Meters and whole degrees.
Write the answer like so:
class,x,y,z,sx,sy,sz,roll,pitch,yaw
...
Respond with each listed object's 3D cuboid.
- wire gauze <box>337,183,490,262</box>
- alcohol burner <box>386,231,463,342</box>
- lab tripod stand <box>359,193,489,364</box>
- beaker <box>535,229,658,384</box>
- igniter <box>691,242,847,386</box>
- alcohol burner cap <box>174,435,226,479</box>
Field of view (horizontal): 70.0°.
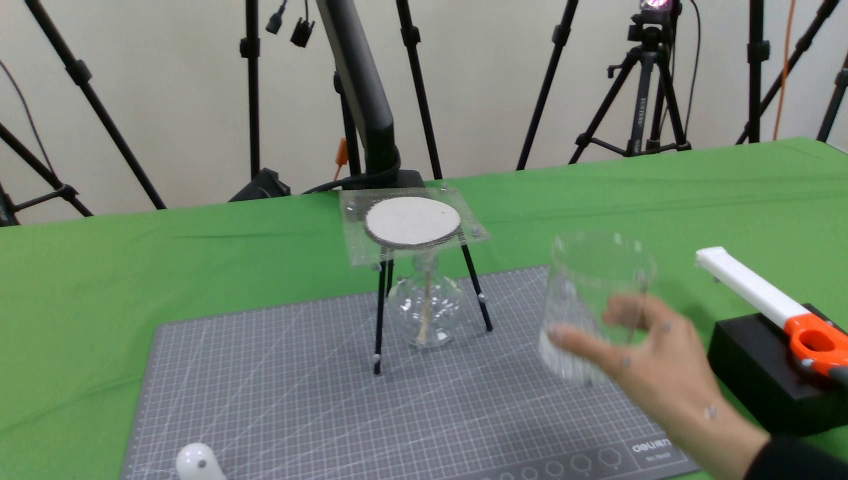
class,x,y,z,sx,sy,sz,roll,pitch,yaw
wire gauze,-0.014,-0.024,0.548,0.122,0.011,0.123,-7,33,-10
alcohol burner,0.000,0.041,0.591,0.078,0.120,0.077,0,34,0
lab tripod stand,-0.008,0.031,0.588,0.148,0.132,0.147,0,31,0
beaker,0.124,0.051,0.461,0.074,0.101,0.083,-18,37,-30
igniter,0.326,0.073,0.522,0.057,0.025,0.273,-9,30,-10
alcohol burner cap,-0.172,0.169,0.461,0.034,0.048,0.033,-1,33,1
